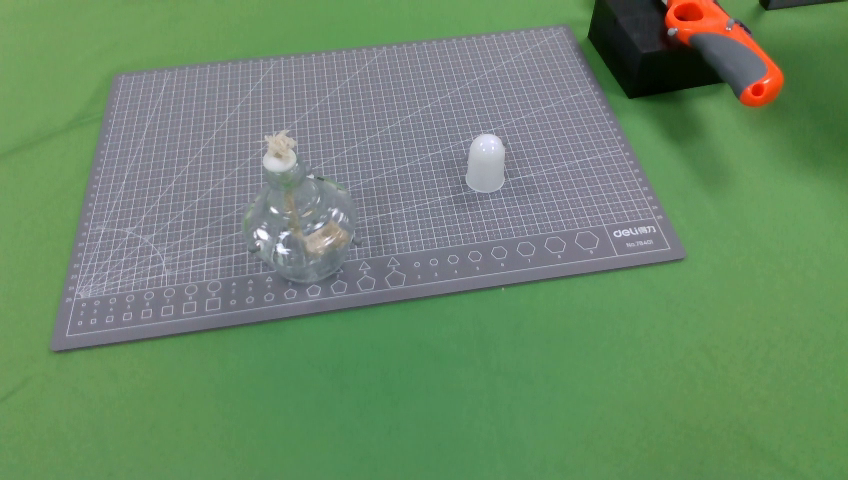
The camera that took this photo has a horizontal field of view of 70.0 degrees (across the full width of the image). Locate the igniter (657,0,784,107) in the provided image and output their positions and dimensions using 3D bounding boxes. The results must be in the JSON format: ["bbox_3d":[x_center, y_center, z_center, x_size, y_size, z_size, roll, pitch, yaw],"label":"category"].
[{"bbox_3d":[0.232,-0.208,0.538,0.057,0.025,0.273,-13,51,-5],"label":"igniter"}]

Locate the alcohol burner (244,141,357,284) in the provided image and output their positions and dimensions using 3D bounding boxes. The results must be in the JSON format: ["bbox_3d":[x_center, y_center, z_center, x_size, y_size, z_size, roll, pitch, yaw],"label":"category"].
[{"bbox_3d":[-0.086,-0.023,0.406,0.078,0.120,0.077,-1,55,2],"label":"alcohol burner"}]

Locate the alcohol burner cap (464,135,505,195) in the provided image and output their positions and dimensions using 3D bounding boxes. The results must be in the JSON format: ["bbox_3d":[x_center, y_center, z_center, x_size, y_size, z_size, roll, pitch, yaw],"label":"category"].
[{"bbox_3d":[0.049,-0.062,0.479,0.034,0.048,0.033,0,52,0],"label":"alcohol burner cap"}]
